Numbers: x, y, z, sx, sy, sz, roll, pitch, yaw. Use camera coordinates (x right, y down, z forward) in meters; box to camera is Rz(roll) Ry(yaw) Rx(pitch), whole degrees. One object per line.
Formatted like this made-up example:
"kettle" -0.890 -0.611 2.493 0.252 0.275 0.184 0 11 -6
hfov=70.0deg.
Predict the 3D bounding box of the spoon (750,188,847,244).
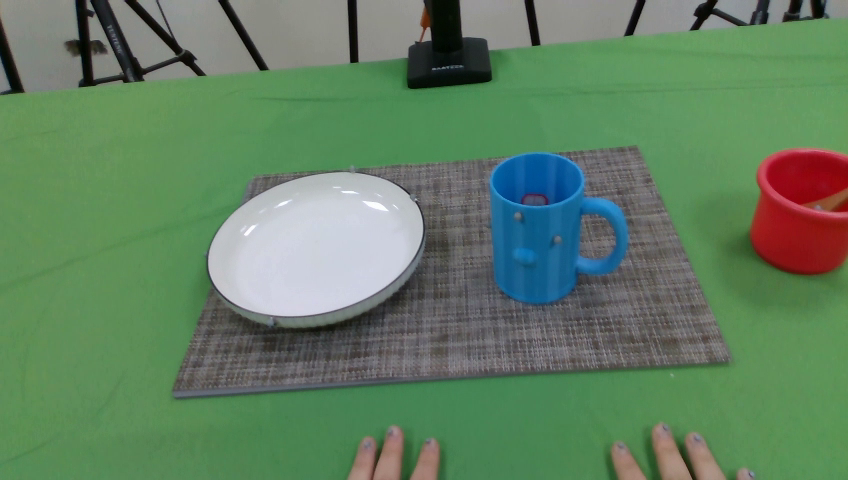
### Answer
"spoon" 0.368 -0.044 0.499 0.194 0.022 0.041 -36 27 40

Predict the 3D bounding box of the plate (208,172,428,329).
"plate" -0.098 0.009 0.584 0.207 0.039 0.205 -4 42 4

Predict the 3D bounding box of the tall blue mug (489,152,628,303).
"tall blue mug" 0.111 -0.011 0.522 0.107 0.109 0.077 -8 41 -1
